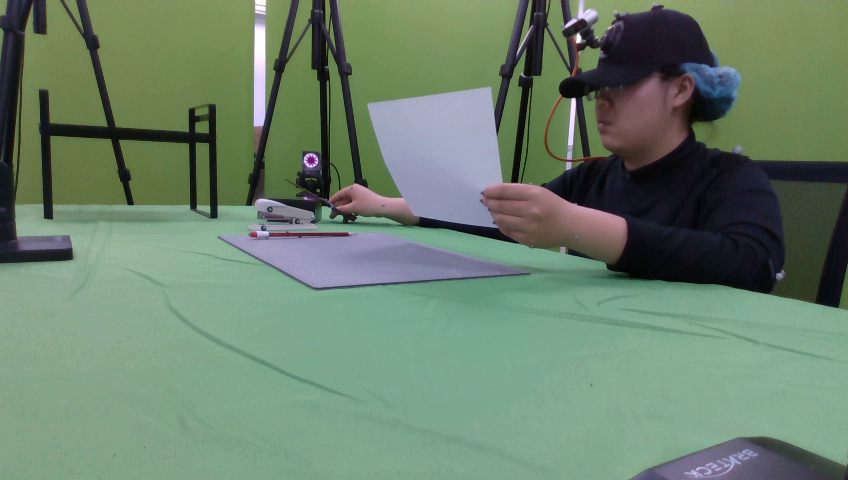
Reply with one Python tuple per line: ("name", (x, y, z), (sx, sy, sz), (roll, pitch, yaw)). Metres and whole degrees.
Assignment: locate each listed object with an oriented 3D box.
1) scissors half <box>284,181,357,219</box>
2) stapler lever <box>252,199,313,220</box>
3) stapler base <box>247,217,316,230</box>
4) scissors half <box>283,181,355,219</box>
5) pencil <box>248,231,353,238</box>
("scissors half", (-0.230, -0.089, 1.340), (0.175, 0.013, 0.040), (27, -3, -10))
("stapler lever", (-0.273, -0.058, 1.170), (0.119, 0.040, 0.026), (0, 10, -37))
("stapler base", (-0.276, -0.033, 1.172), (0.131, 0.024, 0.041), (0, 10, -37))
("scissors half", (-0.230, -0.089, 1.320), (0.175, 0.013, 0.040), (26, 3, 4))
("pencil", (-0.206, -0.009, 1.039), (0.195, 0.012, 0.012), (0, 8, -36))
